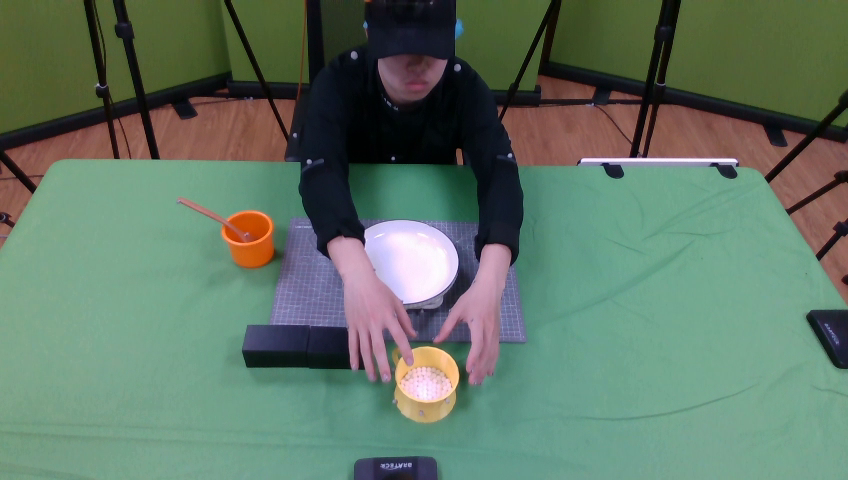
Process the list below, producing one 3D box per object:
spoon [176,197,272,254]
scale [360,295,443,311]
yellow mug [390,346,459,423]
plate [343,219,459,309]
[{"bbox_3d":[-0.362,-0.028,1.108,0.021,0.195,0.041,-35,36,24],"label":"spoon"},{"bbox_3d":[-0.042,0.048,1.138,0.149,0.032,0.199,1,46,-3],"label":"scale"},{"bbox_3d":[-0.009,0.218,0.958,0.100,0.064,0.130,-32,55,-32],"label":"yellow mug"},{"bbox_3d":[-0.041,0.046,1.094,0.209,0.038,0.208,2,46,-1],"label":"plate"}]
